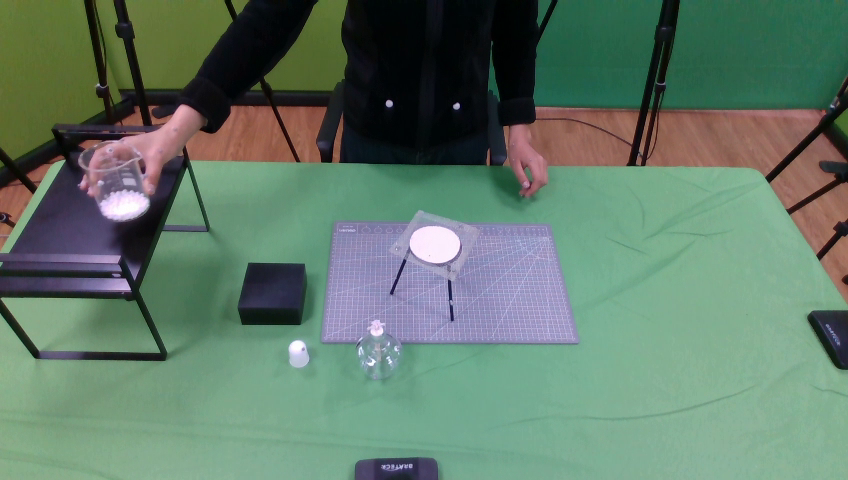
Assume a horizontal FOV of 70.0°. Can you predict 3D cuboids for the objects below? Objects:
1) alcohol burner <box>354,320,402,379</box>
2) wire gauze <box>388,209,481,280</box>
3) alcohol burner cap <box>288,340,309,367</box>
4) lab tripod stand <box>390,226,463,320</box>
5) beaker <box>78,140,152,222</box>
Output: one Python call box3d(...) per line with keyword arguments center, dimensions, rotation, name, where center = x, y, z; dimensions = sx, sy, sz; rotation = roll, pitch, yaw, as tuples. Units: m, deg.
box3d(center=(-0.074, 0.169, 0.964), dimensions=(0.078, 0.120, 0.077), rotation=(1, 46, -1), name="alcohol burner")
box3d(center=(0.018, 0.002, 1.019), dimensions=(0.125, 0.011, 0.121), rotation=(21, 49, 16), name="wire gauze")
box3d(center=(-0.206, 0.182, 0.992), dimensions=(0.034, 0.048, 0.033), rotation=(2, 47, -2), name="alcohol burner cap")
box3d(center=(0.014, 0.053, 1.063), dimensions=(0.148, 0.132, 0.147), rotation=(1, 48, -1), name="lab tripod stand")
box3d(center=(-0.440, -0.084, 0.879), dimensions=(0.084, 0.101, 0.073), rotation=(-7, 44, -12), name="beaker")
